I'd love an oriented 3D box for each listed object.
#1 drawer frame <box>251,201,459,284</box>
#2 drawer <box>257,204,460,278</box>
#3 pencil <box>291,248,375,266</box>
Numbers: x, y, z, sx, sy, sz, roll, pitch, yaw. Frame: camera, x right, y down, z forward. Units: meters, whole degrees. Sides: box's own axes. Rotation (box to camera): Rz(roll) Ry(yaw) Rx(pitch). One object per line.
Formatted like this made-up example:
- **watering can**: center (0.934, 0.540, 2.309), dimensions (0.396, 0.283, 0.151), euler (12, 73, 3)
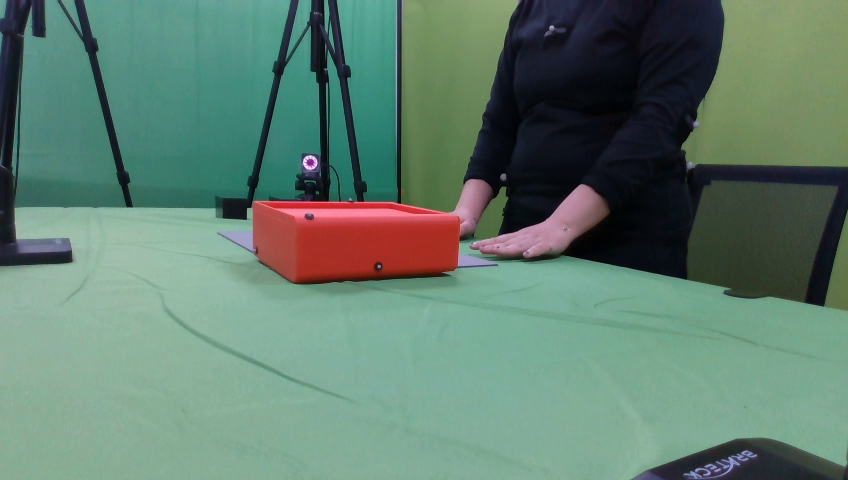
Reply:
- **drawer frame**: center (-0.095, -0.005, 0.789), dimensions (0.215, 0.082, 0.200), euler (-3, 10, -30)
- **drawer**: center (-0.090, -0.004, 0.793), dimensions (0.213, 0.073, 0.193), euler (-3, 10, -29)
- **pencil**: center (-0.112, 0.020, 0.793), dimensions (0.012, 0.012, 0.195), euler (6, 6, 25)
